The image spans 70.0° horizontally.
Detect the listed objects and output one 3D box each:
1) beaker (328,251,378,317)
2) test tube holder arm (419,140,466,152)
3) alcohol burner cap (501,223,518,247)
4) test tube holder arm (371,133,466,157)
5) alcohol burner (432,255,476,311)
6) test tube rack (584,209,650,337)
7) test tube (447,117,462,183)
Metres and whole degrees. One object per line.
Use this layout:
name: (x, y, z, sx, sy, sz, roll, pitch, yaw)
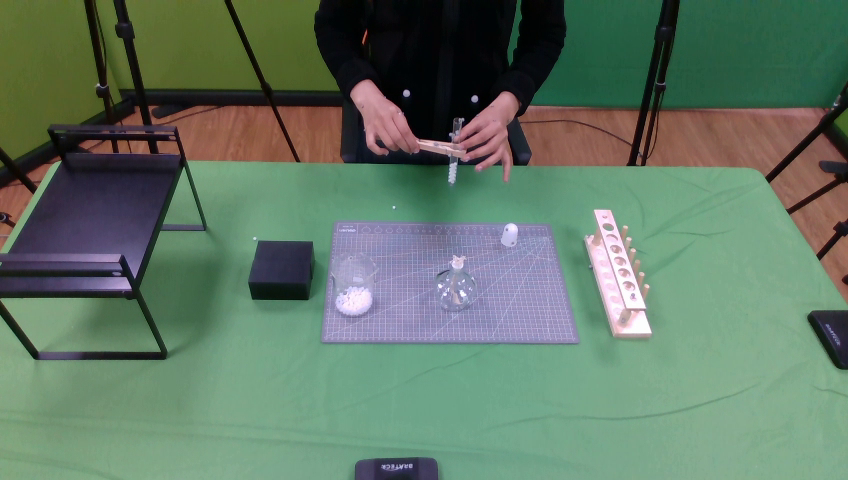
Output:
beaker: (-0.123, 0.079, 1.055, 0.084, 0.101, 0.073, 0, 47, -5)
test tube holder arm: (0.033, -0.172, 1.112, 0.088, 0.015, 0.010, 6, 43, 1)
alcohol burner cap: (0.172, -0.013, 1.206, 0.034, 0.048, 0.033, 1, 46, -1)
test tube holder arm: (-0.012, -0.175, 1.112, 0.178, 0.015, 0.013, 11, 43, 6)
alcohol burner: (0.055, 0.070, 1.068, 0.078, 0.119, 0.077, 3, 45, -3)
test tube rack: (0.365, 0.056, 1.129, 0.067, 0.085, 0.240, 1, 46, -4)
test tube: (0.055, -0.161, 1.112, 0.017, 0.151, 0.017, 2, 49, -2)
